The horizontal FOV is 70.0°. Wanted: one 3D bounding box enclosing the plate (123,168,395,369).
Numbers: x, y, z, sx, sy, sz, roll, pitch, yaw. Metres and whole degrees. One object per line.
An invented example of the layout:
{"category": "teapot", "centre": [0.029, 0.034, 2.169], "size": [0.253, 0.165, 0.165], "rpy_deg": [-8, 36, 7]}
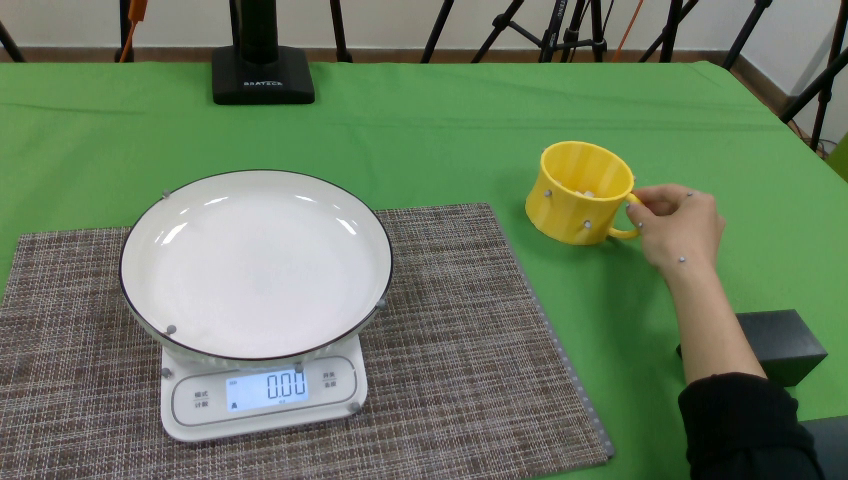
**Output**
{"category": "plate", "centre": [-0.129, 0.020, 0.495], "size": [0.209, 0.038, 0.207], "rpy_deg": [6, 45, -6]}

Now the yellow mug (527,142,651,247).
{"category": "yellow mug", "centre": [0.181, -0.043, 0.649], "size": [0.130, 0.064, 0.100], "rpy_deg": [32, 48, 18]}

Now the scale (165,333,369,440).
{"category": "scale", "centre": [-0.132, 0.060, 0.501], "size": [0.149, 0.032, 0.198], "rpy_deg": [-4, 47, -15]}
